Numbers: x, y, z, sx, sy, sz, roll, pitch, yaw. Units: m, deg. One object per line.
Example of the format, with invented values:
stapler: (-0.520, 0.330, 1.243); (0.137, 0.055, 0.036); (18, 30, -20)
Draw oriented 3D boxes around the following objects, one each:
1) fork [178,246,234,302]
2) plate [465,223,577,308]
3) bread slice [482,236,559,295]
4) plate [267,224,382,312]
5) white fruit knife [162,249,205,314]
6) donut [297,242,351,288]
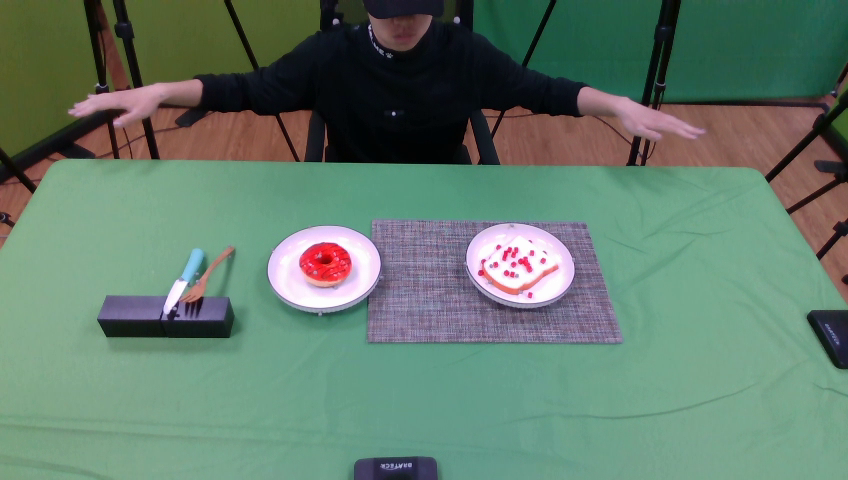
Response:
fork: (-0.380, 0.057, 1.075); (0.028, 0.019, 0.206); (2, 28, 6)
plate: (0.180, 0.051, 1.144); (0.209, 0.038, 0.208); (2, 45, -2)
bread slice: (0.177, 0.050, 1.147); (0.131, 0.019, 0.104); (-32, 55, -30)
plate: (-0.182, 0.055, 1.120); (0.208, 0.039, 0.206); (2, 46, -2)
white fruit knife: (-0.420, 0.070, 1.063); (0.027, 0.016, 0.206); (-1, 29, -3)
donut: (-0.182, 0.045, 1.112); (0.099, 0.048, 0.098); (4, 45, -4)
